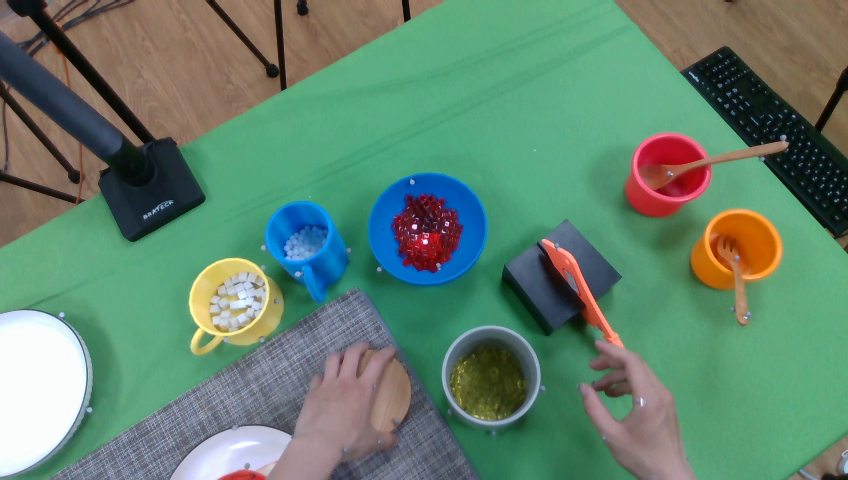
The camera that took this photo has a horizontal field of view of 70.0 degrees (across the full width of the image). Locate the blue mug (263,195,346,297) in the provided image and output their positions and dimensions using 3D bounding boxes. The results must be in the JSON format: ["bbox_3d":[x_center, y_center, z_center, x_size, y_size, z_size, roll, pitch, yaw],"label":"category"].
[{"bbox_3d":[-0.146,0.016,0.768,0.082,0.106,0.115,-13,71,-1],"label":"blue mug"}]

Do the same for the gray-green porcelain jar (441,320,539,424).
[{"bbox_3d":[0.073,0.156,0.698,0.106,0.127,0.105,-1,71,3],"label":"gray-green porcelain jar"}]

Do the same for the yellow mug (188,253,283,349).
[{"bbox_3d":[-0.248,0.085,0.771,0.099,0.064,0.130,34,77,14],"label":"yellow mug"}]

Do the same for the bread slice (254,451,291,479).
[{"bbox_3d":[-0.213,0.319,0.703,0.131,0.019,0.104,-18,71,-7],"label":"bread slice"}]

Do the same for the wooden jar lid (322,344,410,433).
[{"bbox_3d":[-0.070,0.183,0.747,0.108,0.021,0.107,-1,69,3],"label":"wooden jar lid"}]

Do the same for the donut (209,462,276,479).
[{"bbox_3d":[-0.204,0.301,0.676,0.099,0.048,0.098,0,70,0],"label":"donut"}]

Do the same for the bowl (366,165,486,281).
[{"bbox_3d":[0.005,-0.011,0.784,0.151,0.077,0.150,-1,72,3],"label":"bowl"}]

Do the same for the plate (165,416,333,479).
[{"bbox_3d":[-0.201,0.312,0.701,0.209,0.038,0.207,-1,71,3],"label":"plate"}]

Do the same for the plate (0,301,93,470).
[{"bbox_3d":[-0.518,0.182,0.766,0.207,0.039,0.206,-1,71,3],"label":"plate"}]

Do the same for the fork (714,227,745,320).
[{"bbox_3d":[0.361,0.034,0.712,0.028,0.019,0.206,29,31,6],"label":"fork"}]

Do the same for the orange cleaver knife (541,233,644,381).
[{"bbox_3d":[0.204,0.081,0.740,0.012,0.077,0.212,-35,102,-8],"label":"orange cleaver knife"}]

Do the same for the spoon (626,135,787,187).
[{"bbox_3d":[0.347,-0.101,0.761,0.022,0.193,0.041,30,62,-35],"label":"spoon"}]
